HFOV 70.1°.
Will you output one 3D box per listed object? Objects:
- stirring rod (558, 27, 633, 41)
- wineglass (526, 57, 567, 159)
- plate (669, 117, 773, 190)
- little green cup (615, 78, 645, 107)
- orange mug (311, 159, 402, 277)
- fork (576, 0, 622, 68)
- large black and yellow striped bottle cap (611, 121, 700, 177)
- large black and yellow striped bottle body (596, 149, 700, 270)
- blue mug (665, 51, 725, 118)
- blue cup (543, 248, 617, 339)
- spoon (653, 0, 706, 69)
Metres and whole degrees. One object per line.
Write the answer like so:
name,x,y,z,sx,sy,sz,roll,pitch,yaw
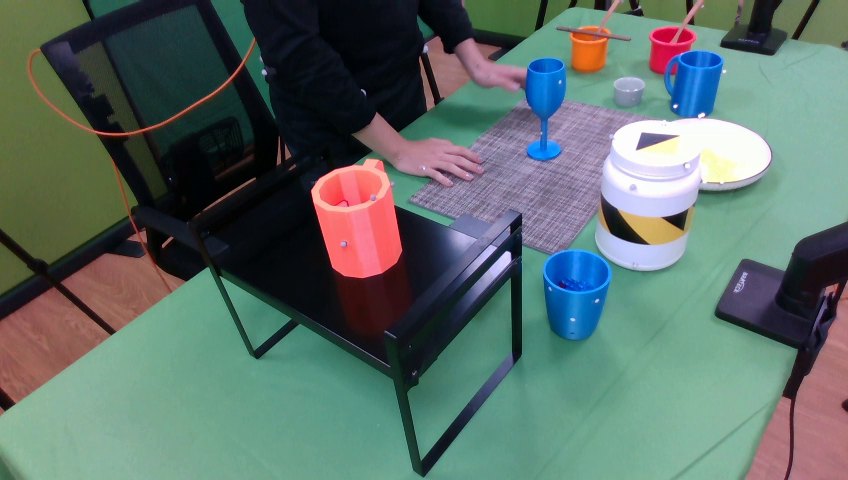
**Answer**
stirring rod,0.381,-0.463,1.356,0.175,0.006,0.014,21,47,30
wineglass,0.221,-0.237,1.097,0.074,0.173,0.073,-5,41,4
plate,0.495,-0.148,1.063,0.209,0.038,0.208,-5,40,4
little green cup,0.426,-0.306,1.257,0.061,0.039,0.061,-5,40,4
orange mug,-0.069,-0.034,0.694,0.083,0.101,0.126,5,46,16
fork,0.409,-0.484,1.381,0.028,0.019,0.207,37,101,45
large black and yellow striped bottle cap,0.315,-0.126,0.823,0.115,0.019,0.114,-4,42,4
large black and yellow striped bottle body,0.323,-0.062,0.877,0.131,0.185,0.130,-5,40,4
blue mug,0.526,-0.314,1.199,0.082,0.106,0.115,-27,44,-21
blue cup,0.199,0.076,0.797,0.092,0.100,0.092,-4,39,4
spoon,0.570,-0.461,1.334,0.041,0.022,0.193,39,102,42
